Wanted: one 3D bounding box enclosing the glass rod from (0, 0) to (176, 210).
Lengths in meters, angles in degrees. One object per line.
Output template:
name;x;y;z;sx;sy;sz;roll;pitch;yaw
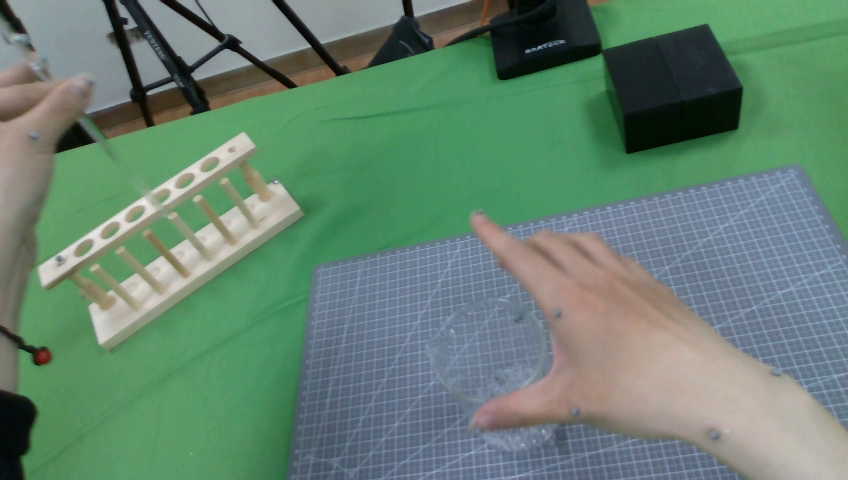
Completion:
glass rod;-0.226;-0.084;0.419;0.008;0.202;0.008;-7;53;10

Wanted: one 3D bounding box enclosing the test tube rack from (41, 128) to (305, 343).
test tube rack;-0.255;-0.006;0.630;0.242;0.086;0.066;-36;49;-9

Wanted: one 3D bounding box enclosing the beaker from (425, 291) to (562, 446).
beaker;0.052;0.093;0.419;0.083;0.101;0.073;0;53;22
